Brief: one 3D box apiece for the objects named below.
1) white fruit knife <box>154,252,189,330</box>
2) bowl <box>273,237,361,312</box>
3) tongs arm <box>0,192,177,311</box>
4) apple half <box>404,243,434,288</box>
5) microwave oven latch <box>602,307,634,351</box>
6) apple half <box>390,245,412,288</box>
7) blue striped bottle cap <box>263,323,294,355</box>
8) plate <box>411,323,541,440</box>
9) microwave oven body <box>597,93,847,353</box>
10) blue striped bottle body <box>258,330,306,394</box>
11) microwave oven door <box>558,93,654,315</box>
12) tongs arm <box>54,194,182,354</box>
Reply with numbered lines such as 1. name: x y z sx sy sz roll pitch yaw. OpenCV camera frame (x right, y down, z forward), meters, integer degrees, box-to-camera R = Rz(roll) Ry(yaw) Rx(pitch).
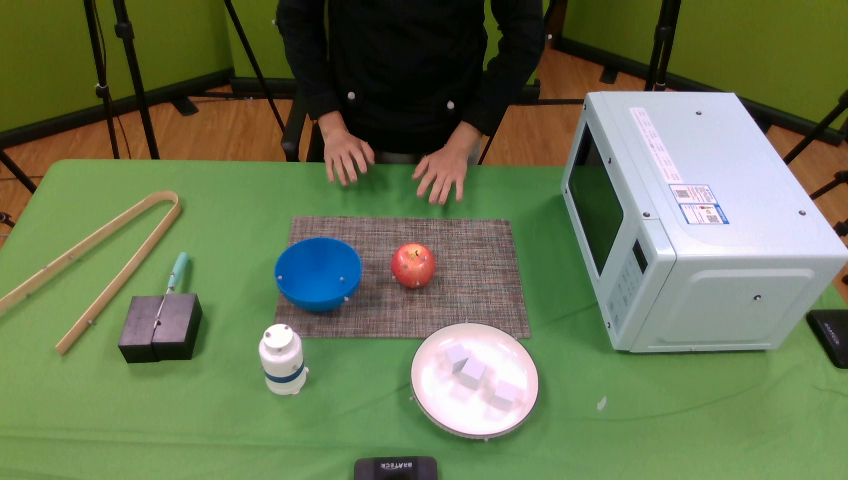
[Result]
1. white fruit knife: -0.438 0.083 1.053 0.016 0.027 0.206 -2 35 -5
2. bowl: -0.186 0.074 1.069 0.151 0.077 0.150 3 46 -3
3. tongs arm: -0.618 0.019 1.124 0.050 0.026 0.384 24 47 16
4. apple half: -0.010 0.048 1.115 0.053 0.075 0.080 -7 43 -17
5. microwave oven latch: 0.332 0.153 1.044 0.030 0.029 0.078 -1 45 -4
6. apple half: -0.046 0.053 1.105 0.033 0.081 0.080 -8 47 -16
7. blue striped bottle cap: -0.217 0.146 0.900 0.044 0.021 0.044 1 46 -1
8. plate: 0.082 0.228 0.976 0.208 0.039 0.206 2 45 -2
9. microwave oven body: 0.475 -0.041 1.110 0.326 0.261 0.438 -1 45 -4
10. blue striped bottle body: -0.220 0.182 0.937 0.063 0.121 0.062 2 46 -2
11. microwave oven door: 0.327 -0.074 1.123 0.039 0.245 0.353 0 46 -5
12. tongs arm: -0.543 0.048 1.107 0.028 0.028 0.385 11 46 10
